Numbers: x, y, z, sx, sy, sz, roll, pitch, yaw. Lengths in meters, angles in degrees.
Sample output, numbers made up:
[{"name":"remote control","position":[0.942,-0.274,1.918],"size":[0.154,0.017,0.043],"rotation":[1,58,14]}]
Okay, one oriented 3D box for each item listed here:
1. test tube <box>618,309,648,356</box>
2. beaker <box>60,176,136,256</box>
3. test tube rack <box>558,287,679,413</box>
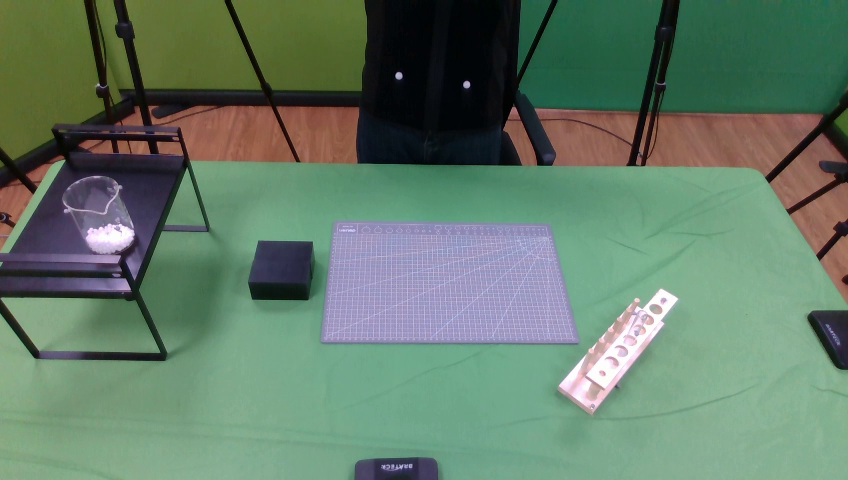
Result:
[{"name":"test tube","position":[0.327,0.154,0.955],"size":[0.017,0.151,0.017],"rotation":[-1,51,1]},{"name":"beaker","position":[-0.470,-0.031,0.888],"size":[0.074,0.101,0.083],"rotation":[-31,56,-28]},{"name":"test tube rack","position":[0.326,0.170,1.009],"size":[0.066,0.085,0.242],"rotation":[35,54,26]}]
